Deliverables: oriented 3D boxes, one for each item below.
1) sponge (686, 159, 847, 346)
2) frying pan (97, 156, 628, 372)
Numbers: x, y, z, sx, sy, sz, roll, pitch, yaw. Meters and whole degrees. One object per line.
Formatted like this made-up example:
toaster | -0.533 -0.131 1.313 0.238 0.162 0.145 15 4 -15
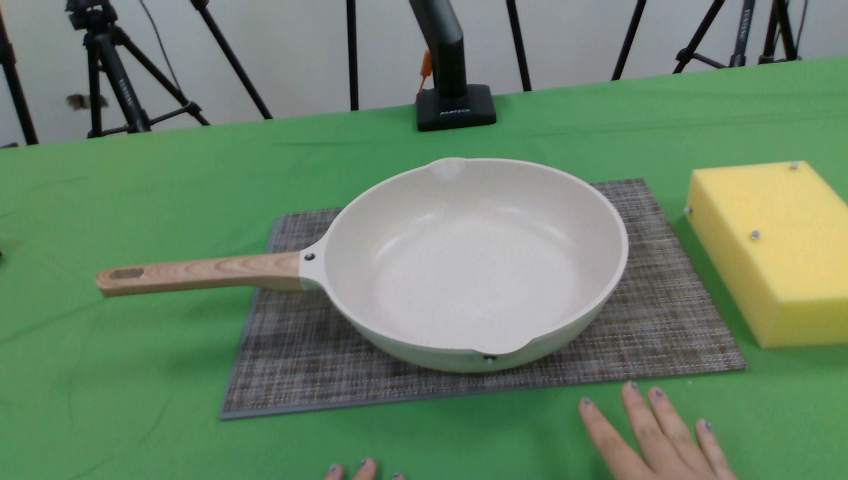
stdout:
sponge | 0.348 0.004 0.580 0.118 0.061 0.205 -5 37 3
frying pan | -0.056 0.022 0.586 0.489 0.103 0.303 -2 36 -6
